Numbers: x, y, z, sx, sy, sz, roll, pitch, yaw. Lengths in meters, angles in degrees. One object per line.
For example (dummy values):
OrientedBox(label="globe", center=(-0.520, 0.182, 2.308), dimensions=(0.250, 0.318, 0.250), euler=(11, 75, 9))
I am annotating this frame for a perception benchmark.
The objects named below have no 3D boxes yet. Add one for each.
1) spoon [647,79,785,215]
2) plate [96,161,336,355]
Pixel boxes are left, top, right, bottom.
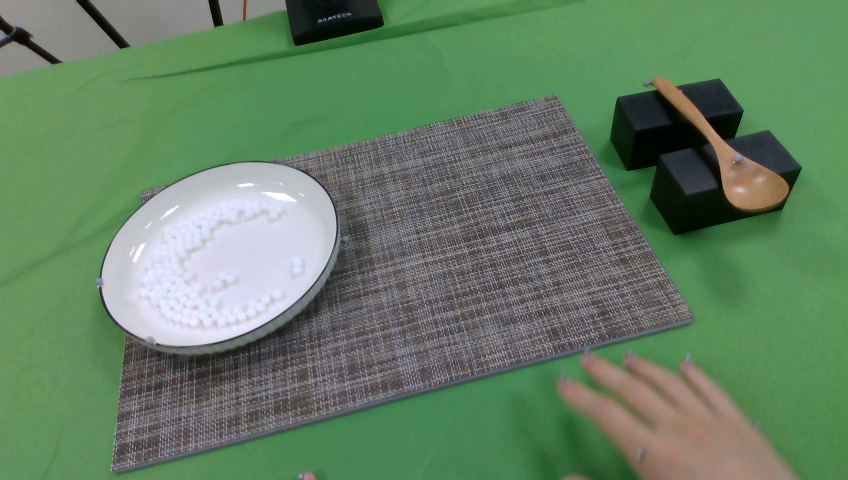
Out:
OrientedBox(label="spoon", center=(0.238, -0.088, 0.514), dimensions=(0.041, 0.022, 0.191), euler=(-29, 48, 14))
OrientedBox(label="plate", center=(-0.178, 0.014, 0.539), dimensions=(0.207, 0.039, 0.205), euler=(-4, 50, 5))
